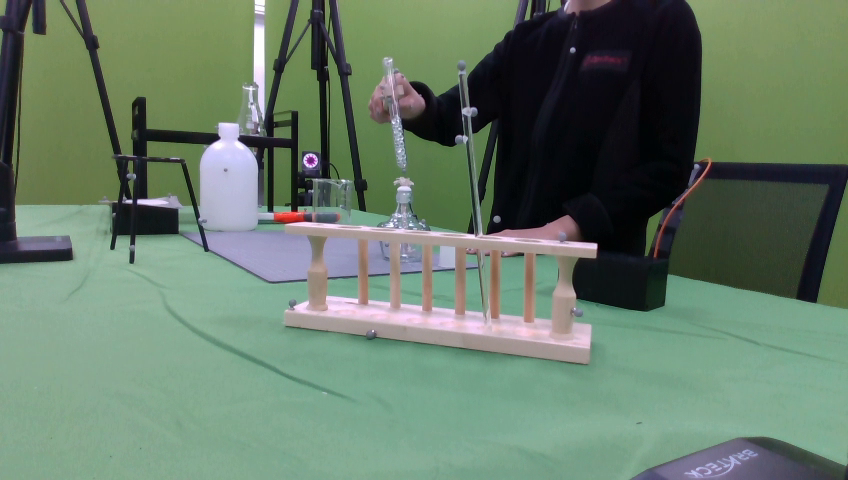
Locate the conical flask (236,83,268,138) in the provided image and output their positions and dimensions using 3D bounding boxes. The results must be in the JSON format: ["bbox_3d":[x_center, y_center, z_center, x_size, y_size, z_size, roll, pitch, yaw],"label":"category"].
[{"bbox_3d":[-0.400,-0.298,1.396,0.075,0.122,0.075,2,8,0],"label":"conical flask"}]

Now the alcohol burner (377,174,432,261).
[{"bbox_3d":[-0.027,-0.031,0.838,0.078,0.119,0.078,0,6,0],"label":"alcohol burner"}]

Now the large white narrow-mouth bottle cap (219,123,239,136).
[{"bbox_3d":[-0.356,-0.201,1.104,0.038,0.024,0.037,2,8,0],"label":"large white narrow-mouth bottle cap"}]

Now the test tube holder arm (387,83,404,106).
[{"bbox_3d":[-0.043,-0.201,0.840,0.010,0.015,0.087,-1,0,-17],"label":"test tube holder arm"}]

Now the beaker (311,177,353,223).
[{"bbox_3d":[-0.167,-0.064,1.106,0.074,0.100,0.083,-2,9,-27],"label":"beaker"}]

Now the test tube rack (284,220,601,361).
[{"bbox_3d":[0.013,0.032,0.482,0.242,0.085,0.067,4,7,16],"label":"test tube rack"}]

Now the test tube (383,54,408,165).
[{"bbox_3d":[-0.039,-0.176,0.817,0.017,0.150,0.017,-8,0,0],"label":"test tube"}]

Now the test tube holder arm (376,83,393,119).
[{"bbox_3d":[-0.059,-0.201,0.882,0.013,0.015,0.178,-1,0,-11],"label":"test tube holder arm"}]

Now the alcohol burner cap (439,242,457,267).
[{"bbox_3d":[0.037,0.011,0.807,0.034,0.048,0.034,4,8,0],"label":"alcohol burner cap"}]

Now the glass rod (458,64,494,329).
[{"bbox_3d":[0.039,-0.029,0.449,0.008,0.199,0.008,-7,9,1],"label":"glass rod"}]

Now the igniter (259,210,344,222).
[{"bbox_3d":[-0.303,-0.049,1.258,0.278,0.025,0.057,-2,-2,-28],"label":"igniter"}]

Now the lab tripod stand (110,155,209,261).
[{"bbox_3d":[-0.361,-0.046,0.806,0.148,0.131,0.148,2,5,0],"label":"lab tripod stand"}]

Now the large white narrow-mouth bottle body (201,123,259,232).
[{"bbox_3d":[-0.358,-0.116,1.116,0.102,0.194,0.102,2,8,0],"label":"large white narrow-mouth bottle body"}]

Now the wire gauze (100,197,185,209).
[{"bbox_3d":[-0.469,-0.062,1.008,0.126,0.011,0.121,-2,8,-25],"label":"wire gauze"}]
